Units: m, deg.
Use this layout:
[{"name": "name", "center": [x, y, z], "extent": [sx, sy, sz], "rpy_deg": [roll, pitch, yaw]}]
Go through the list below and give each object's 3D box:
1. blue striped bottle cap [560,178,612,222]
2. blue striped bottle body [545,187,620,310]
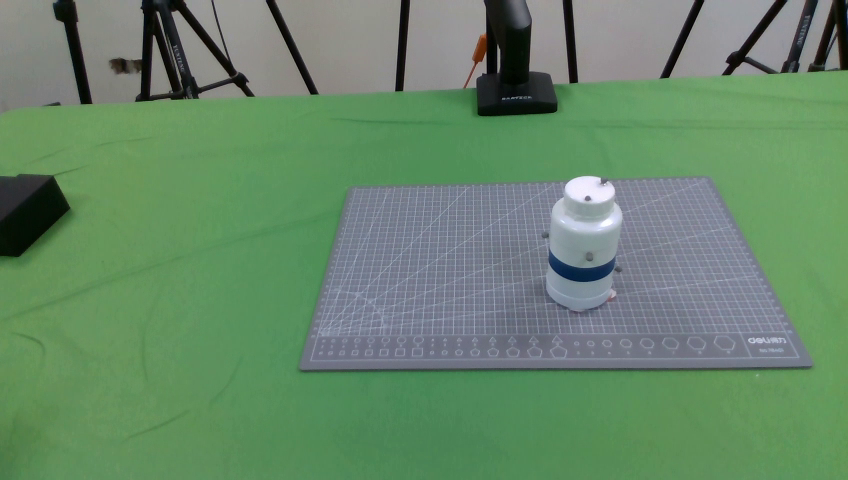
[{"name": "blue striped bottle cap", "center": [0.144, -0.036, 0.537], "extent": [0.044, 0.021, 0.044], "rpy_deg": [-2, 39, 2]}, {"name": "blue striped bottle body", "center": [0.148, 0.003, 0.569], "extent": [0.063, 0.122, 0.062], "rpy_deg": [-3, 39, 3]}]
